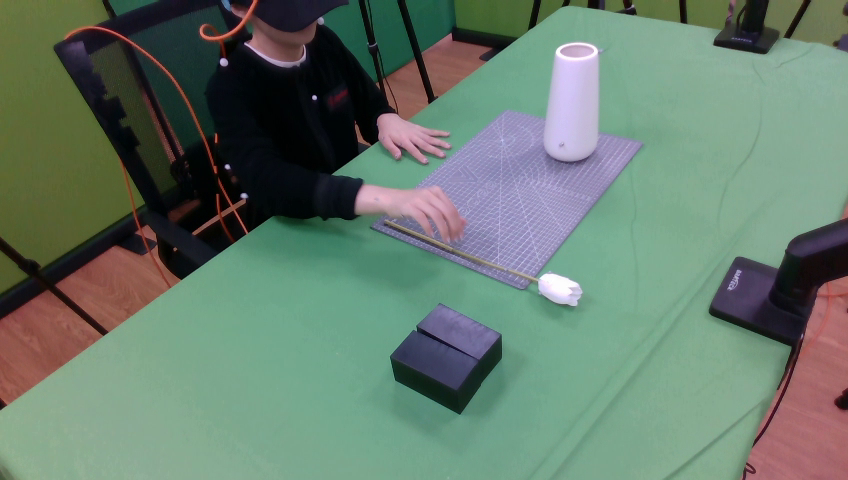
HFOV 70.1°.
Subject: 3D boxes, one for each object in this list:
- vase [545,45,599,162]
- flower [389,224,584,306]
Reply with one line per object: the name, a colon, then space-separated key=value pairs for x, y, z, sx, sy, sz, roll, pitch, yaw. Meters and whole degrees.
vase: x=0.266 y=-0.238 z=1.074 sx=0.098 sy=0.201 sz=0.097 roll=-4 pitch=42 yaw=4
flower: x=0.078 y=0.026 z=0.938 sx=0.358 sy=0.038 sz=0.044 roll=21 pitch=15 yaw=35
